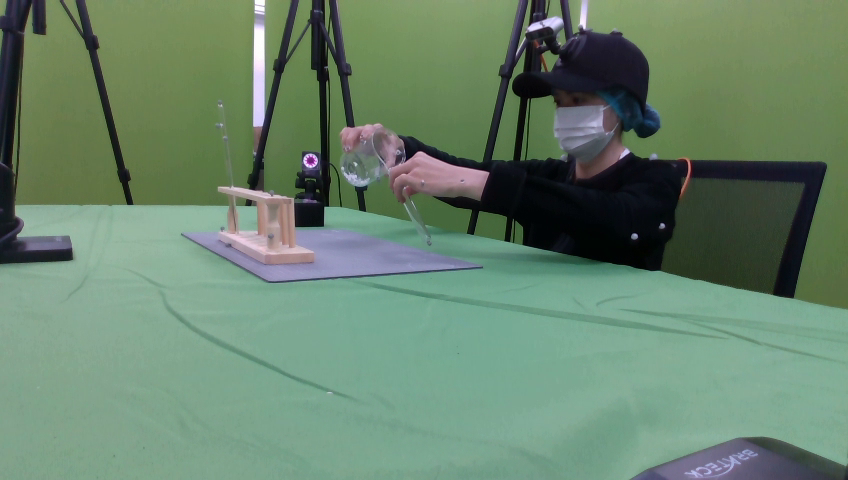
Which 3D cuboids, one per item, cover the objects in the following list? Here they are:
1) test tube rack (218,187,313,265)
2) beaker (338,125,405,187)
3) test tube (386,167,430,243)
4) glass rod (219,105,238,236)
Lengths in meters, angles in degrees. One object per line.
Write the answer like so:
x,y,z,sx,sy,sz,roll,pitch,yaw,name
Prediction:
-0.235,-0.027,0.872,0.067,0.085,0.241,-1,8,-32,test tube rack
-0.093,-0.138,1.040,0.074,0.084,0.100,9,-24,-44,beaker
-0.026,-0.057,0.968,0.017,0.149,0.017,-22,-26,-11,test tube
-0.294,-0.100,0.908,0.008,0.199,0.008,-3,12,1,glass rod
